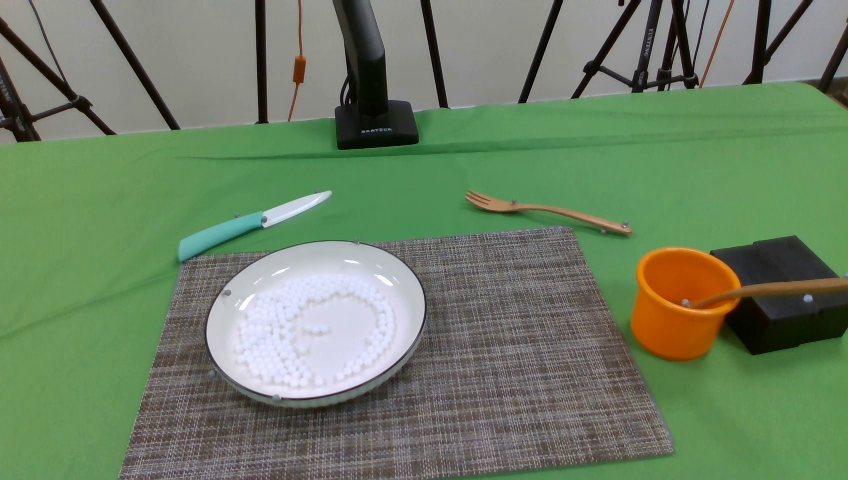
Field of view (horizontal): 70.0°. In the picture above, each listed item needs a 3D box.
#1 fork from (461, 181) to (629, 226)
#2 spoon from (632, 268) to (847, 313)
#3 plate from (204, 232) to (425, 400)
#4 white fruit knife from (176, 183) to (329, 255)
[{"bbox_3d":[0.145,-0.044,0.740,0.206,0.019,0.028,12,36,17],"label":"fork"},{"bbox_3d":[0.266,0.044,0.535,0.041,0.193,0.021,-30,92,-33],"label":"spoon"},{"bbox_3d":[-0.102,0.071,0.588,0.209,0.038,0.207,0,40,1],"label":"plate"},{"bbox_3d":[-0.204,-0.033,0.737,0.208,0.016,0.027,-26,70,-32],"label":"white fruit knife"}]
